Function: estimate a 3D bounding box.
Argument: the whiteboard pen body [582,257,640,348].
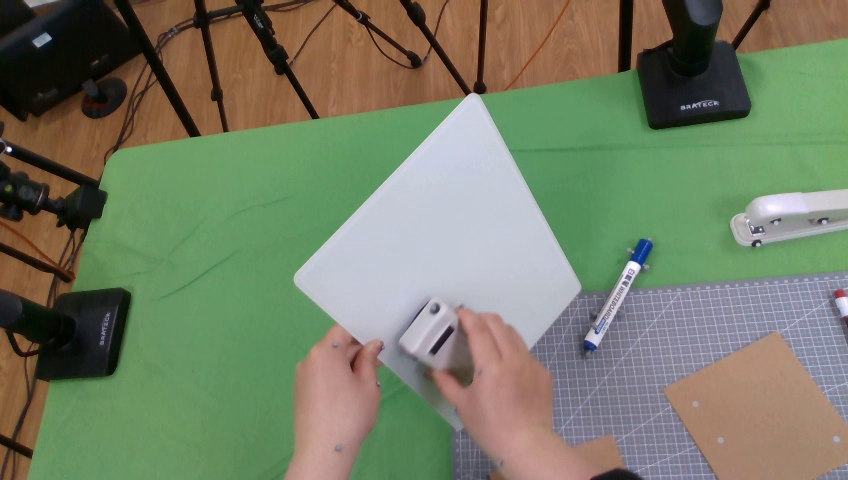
[{"bbox_3d":[0.215,0.059,0.680,0.017,0.017,0.140,27,73,24],"label":"whiteboard pen body"}]

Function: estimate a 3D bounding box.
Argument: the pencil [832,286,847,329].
[{"bbox_3d":[0.437,0.136,0.593,0.012,0.012,0.192,-9,66,10],"label":"pencil"}]

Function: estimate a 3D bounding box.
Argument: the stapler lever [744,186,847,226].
[{"bbox_3d":[0.408,-0.039,0.651,0.118,0.040,0.026,-11,66,8],"label":"stapler lever"}]

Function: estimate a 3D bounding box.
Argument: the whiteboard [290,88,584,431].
[{"bbox_3d":[0.003,0.015,0.627,0.217,0.309,0.142,-46,42,-9],"label":"whiteboard"}]

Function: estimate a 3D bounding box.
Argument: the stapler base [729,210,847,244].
[{"bbox_3d":[0.412,-0.028,0.672,0.130,0.024,0.041,-10,66,7],"label":"stapler base"}]

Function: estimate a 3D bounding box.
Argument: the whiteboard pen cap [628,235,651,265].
[{"bbox_3d":[0.247,0.012,0.693,0.018,0.018,0.033,25,73,23],"label":"whiteboard pen cap"}]

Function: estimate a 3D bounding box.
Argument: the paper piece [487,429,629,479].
[{"bbox_3d":[0.146,0.273,0.600,0.135,0.004,0.134,-20,61,6],"label":"paper piece"}]

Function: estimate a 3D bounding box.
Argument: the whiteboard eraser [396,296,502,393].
[{"bbox_3d":[0.024,0.100,0.573,0.055,0.114,0.041,-49,41,-1],"label":"whiteboard eraser"}]

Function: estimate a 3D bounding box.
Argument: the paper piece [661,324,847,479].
[{"bbox_3d":[0.332,0.174,0.602,0.136,0.009,0.137,-28,64,5],"label":"paper piece"}]
